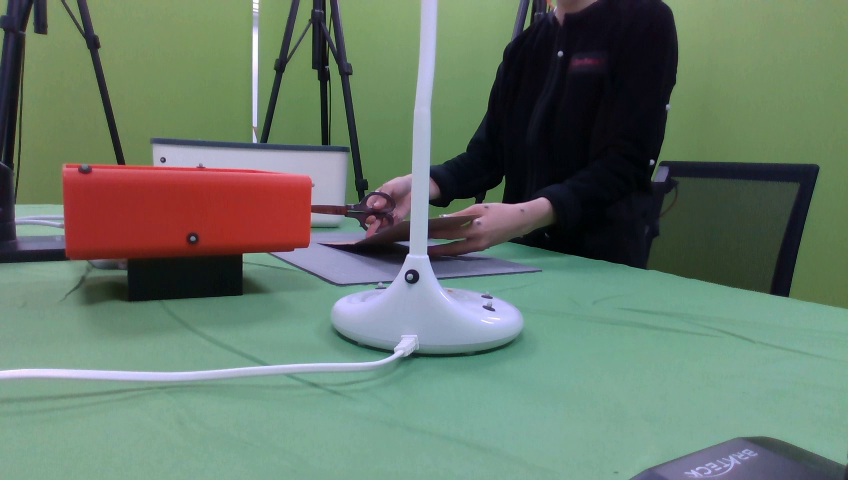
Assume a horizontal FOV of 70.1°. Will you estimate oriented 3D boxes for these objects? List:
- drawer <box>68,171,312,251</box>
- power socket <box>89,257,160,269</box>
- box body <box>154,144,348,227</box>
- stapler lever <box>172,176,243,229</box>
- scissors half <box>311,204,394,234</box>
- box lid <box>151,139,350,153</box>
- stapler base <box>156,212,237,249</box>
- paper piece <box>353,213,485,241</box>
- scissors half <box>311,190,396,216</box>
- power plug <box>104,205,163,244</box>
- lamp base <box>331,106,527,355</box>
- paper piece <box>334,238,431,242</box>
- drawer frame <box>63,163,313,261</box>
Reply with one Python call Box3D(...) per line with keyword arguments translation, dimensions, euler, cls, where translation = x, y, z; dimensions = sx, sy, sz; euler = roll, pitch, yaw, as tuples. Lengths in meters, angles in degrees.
Box3D(translation=(-0.247, -0.036, 0.629), dimensions=(0.213, 0.073, 0.193), euler=(-3, 9, -30), cls="drawer")
Box3D(translation=(-0.409, 0.004, 0.793), dimensions=(0.072, 0.032, 0.225), euler=(-2, 8, -38), cls="power socket")
Box3D(translation=(-0.357, -0.119, 1.264), dimensions=(0.365, 0.160, 0.253), euler=(0, 7, -18), cls="box body")
Box3D(translation=(-0.217, -0.041, 0.618), dimensions=(0.027, 0.040, 0.118), euler=(18, 11, -2), cls="stapler lever")
Box3D(translation=(-0.135, -0.040, 1.029), dimensions=(0.176, 0.040, 0.012), euler=(12, 11, -21), cls="scissors half")
Box3D(translation=(-0.352, -0.191, 1.256), dimensions=(0.373, 0.015, 0.262), euler=(0, 8, -18), cls="box lid")
Box3D(translation=(-0.227, -0.017, 0.624), dimensions=(0.041, 0.024, 0.130), euler=(18, 10, -2), cls="stapler base")
Box3D(translation=(-0.008, -0.016, 0.844), dimensions=(0.139, 0.008, 0.135), euler=(-5, -9, -34), cls="paper piece")
Box3D(translation=(-0.132, -0.060, 1.025), dimensions=(0.176, 0.040, 0.013), euler=(-6, 12, -18), cls="scissors half")
Box3D(translation=(-0.390, -0.021, 0.815), dimensions=(0.073, 0.052, 0.035), euler=(-1, 7, -28), cls="power plug")
Box3D(translation=(0.006, -0.012, 0.478), dimensions=(0.161, 0.180, 0.179), euler=(2, 10, 2), cls="lamp base")
Box3D(translation=(-0.081, -0.001, 0.952), dimensions=(0.136, 0.004, 0.135), euler=(-3, 3, -33), cls="paper piece")
Box3D(translation=(-0.248, -0.036, 0.626), dimensions=(0.215, 0.082, 0.200), euler=(-3, 9, -31), cls="drawer frame")
